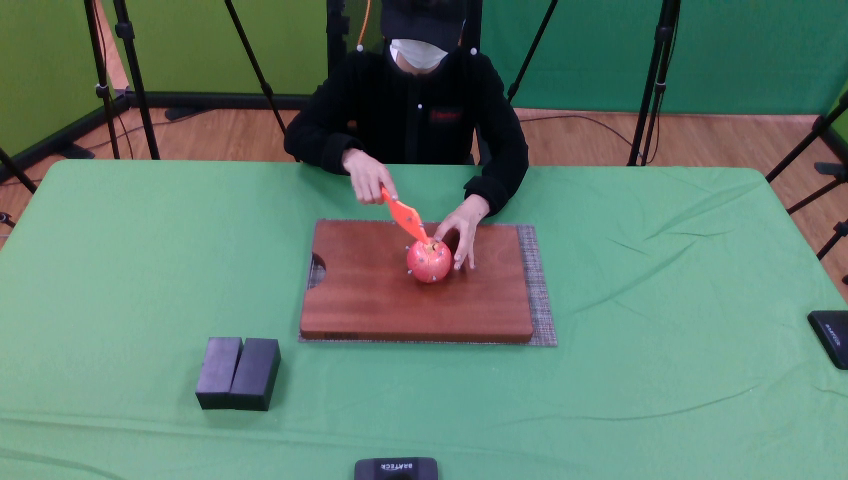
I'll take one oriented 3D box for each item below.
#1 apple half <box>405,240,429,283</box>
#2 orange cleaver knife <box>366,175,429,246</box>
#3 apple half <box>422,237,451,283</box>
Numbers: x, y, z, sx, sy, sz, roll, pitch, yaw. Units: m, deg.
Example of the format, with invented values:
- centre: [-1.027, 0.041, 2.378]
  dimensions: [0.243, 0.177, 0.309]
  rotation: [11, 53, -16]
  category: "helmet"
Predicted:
- centre: [-0.017, 0.042, 1.080]
  dimensions: [0.033, 0.081, 0.080]
  rotation: [-8, 47, -15]
  category: "apple half"
- centre: [-0.049, -0.054, 1.074]
  dimensions: [0.012, 0.077, 0.210]
  rotation: [-27, 37, -18]
  category: "orange cleaver knife"
- centre: [0.021, 0.036, 1.090]
  dimensions: [0.053, 0.075, 0.080]
  rotation: [-7, 43, -16]
  category: "apple half"
